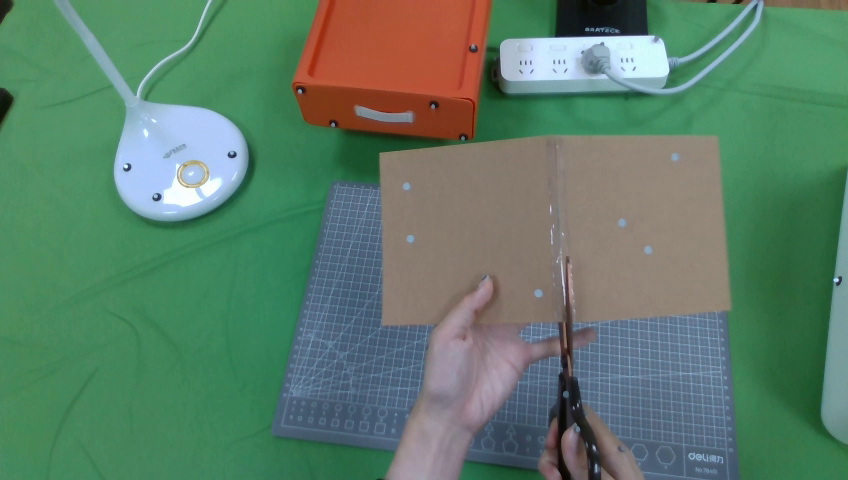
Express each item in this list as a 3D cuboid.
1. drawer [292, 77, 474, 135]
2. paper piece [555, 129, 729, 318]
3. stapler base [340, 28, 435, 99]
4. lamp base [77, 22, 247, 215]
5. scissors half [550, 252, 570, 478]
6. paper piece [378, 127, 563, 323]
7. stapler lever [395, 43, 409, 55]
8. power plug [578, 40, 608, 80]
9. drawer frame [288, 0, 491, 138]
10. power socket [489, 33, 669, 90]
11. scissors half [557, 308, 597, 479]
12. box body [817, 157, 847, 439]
[{"bbox_3d":[-0.030,-0.233,0.711,0.194,0.074,0.210,7,64,7],"label":"drawer"},{"bbox_3d":[0.161,-0.014,0.442,0.136,0.004,0.135,-2,89,-12],"label":"paper piece"},{"bbox_3d":[-0.047,-0.215,0.722,0.129,0.024,0.041,35,86,20],"label":"stapler base"},{"bbox_3d":[-0.309,-0.142,0.672,0.178,0.182,0.160,37,70,21],"label":"lamp base"},{"bbox_3d":[0.101,0.093,0.442,0.013,0.040,0.176,-2,107,0],"label":"scissors half"},{"bbox_3d":[0.031,-0.008,0.448,0.135,0.009,0.138,-2,90,18],"label":"paper piece"},{"bbox_3d":[-0.056,-0.221,0.698,0.117,0.040,0.027,35,86,22],"label":"stapler lever"},{"bbox_3d":[0.205,-0.213,0.741,0.035,0.053,0.072,10,65,7],"label":"power plug"},{"bbox_3d":[-0.031,-0.235,0.712,0.201,0.083,0.212,6,64,6],"label":"drawer frame"},{"bbox_3d":[0.198,-0.228,0.775,0.227,0.033,0.071,0,65,2],"label":"power socket"},{"bbox_3d":[0.101,0.092,0.417,0.013,0.040,0.174,-1,68,-4],"label":"scissors half"},{"bbox_3d":[0.539,0.040,0.557,0.253,0.161,0.362,18,66,11],"label":"box body"}]
